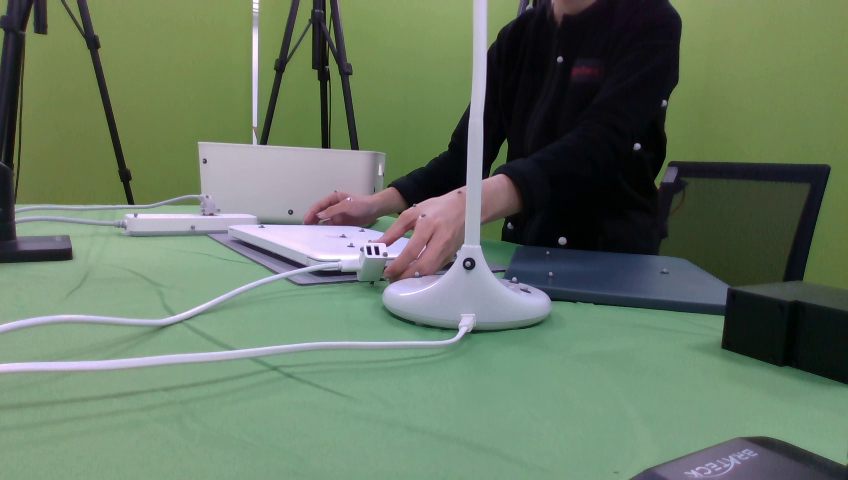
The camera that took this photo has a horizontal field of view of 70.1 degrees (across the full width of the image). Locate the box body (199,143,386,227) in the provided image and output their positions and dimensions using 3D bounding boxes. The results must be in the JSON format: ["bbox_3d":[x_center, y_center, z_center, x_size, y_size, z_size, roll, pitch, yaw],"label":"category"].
[{"bbox_3d":[-0.276,-0.124,1.335,0.364,0.160,0.254,3,7,1],"label":"box body"}]

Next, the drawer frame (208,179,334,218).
[{"bbox_3d":[-0.327,-0.093,1.328,0.213,0.082,0.202,-1,5,6],"label":"drawer frame"}]

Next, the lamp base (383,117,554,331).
[{"bbox_3d":[0.045,-0.019,0.547,0.161,0.180,0.179,2,10,-4],"label":"lamp base"}]

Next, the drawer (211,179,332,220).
[{"bbox_3d":[-0.328,-0.095,1.332,0.212,0.073,0.194,5,8,6],"label":"drawer"}]

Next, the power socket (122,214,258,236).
[{"bbox_3d":[-0.399,-0.028,1.049,0.228,0.032,0.072,-3,8,-34],"label":"power socket"}]

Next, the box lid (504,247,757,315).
[{"bbox_3d":[0.244,0.044,0.793,0.263,0.015,0.372,4,7,10],"label":"box lid"}]

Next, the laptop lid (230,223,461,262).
[{"bbox_3d":[-0.119,0.000,0.889,0.243,0.013,0.355,1,7,-33],"label":"laptop lid"}]

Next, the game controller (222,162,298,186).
[{"bbox_3d":[-0.357,-0.143,1.321,0.156,0.051,0.097,1,2,-16],"label":"game controller"}]

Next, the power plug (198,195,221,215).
[{"bbox_3d":[-0.387,-0.055,1.089,0.035,0.052,0.072,-1,6,-22],"label":"power plug"}]

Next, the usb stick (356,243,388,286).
[{"bbox_3d":[-0.058,0.029,0.658,0.027,0.059,0.021,-4,52,-18],"label":"usb stick"}]

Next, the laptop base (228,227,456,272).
[{"bbox_3d":[-0.122,0.012,0.889,0.237,0.023,0.352,2,6,-35],"label":"laptop base"}]
